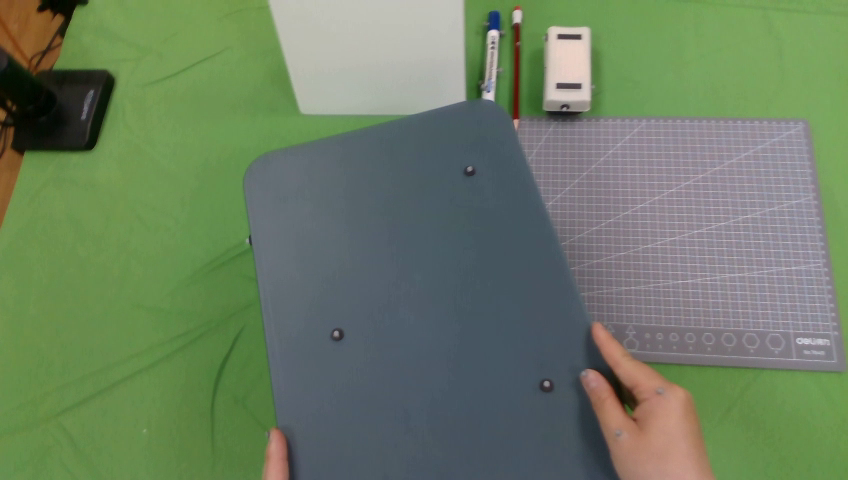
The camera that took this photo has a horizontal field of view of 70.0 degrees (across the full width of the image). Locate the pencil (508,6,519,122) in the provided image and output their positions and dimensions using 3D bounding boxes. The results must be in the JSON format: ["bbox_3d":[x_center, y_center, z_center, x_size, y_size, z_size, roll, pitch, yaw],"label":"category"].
[{"bbox_3d":[0.116,-0.222,0.780,0.012,0.012,0.192,-1,69,6],"label":"pencil"}]

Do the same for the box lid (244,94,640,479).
[{"bbox_3d":[-0.004,0.044,0.509,0.263,0.015,0.368,-14,66,-3],"label":"box lid"}]

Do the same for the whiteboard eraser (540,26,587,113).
[{"bbox_3d":[0.173,-0.211,0.754,0.055,0.042,0.112,1,70,8],"label":"whiteboard eraser"}]

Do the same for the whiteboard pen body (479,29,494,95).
[{"bbox_3d":[0.081,-0.232,0.784,0.017,0.017,0.140,3,69,7],"label":"whiteboard pen body"}]

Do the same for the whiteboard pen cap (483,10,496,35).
[{"bbox_3d":[0.088,-0.286,0.803,0.018,0.018,0.033,1,68,6],"label":"whiteboard pen cap"}]

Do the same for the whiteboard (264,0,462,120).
[{"bbox_3d":[-0.062,-0.307,0.706,0.217,0.308,0.142,2,50,7],"label":"whiteboard"}]
